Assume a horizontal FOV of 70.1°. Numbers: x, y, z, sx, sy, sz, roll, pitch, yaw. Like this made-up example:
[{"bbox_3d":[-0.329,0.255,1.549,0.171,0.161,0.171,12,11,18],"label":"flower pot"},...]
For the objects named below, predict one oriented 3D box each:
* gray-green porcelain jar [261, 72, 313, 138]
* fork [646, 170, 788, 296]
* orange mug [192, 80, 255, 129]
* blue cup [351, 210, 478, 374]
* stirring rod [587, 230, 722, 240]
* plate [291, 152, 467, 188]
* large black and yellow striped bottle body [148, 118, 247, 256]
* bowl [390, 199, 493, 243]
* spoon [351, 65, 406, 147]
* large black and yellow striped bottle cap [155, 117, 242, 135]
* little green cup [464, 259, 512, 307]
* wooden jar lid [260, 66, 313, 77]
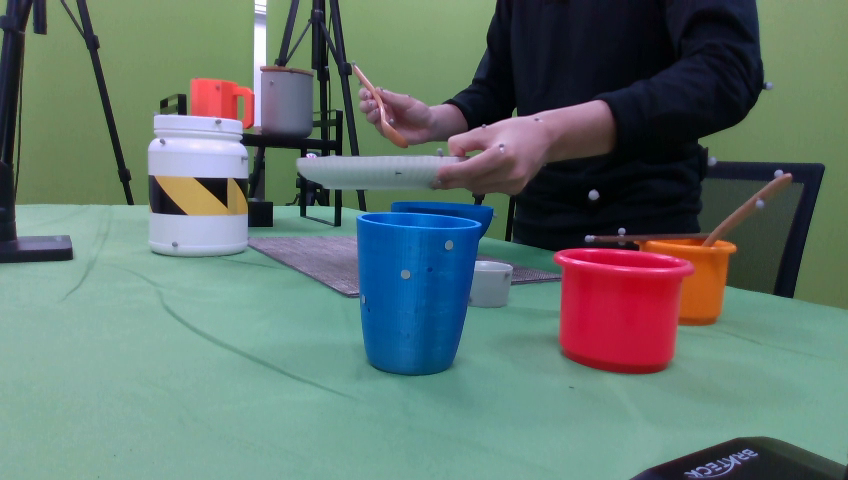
[{"bbox_3d":[-0.284,-0.276,1.253,0.106,0.126,0.106,2,8,0],"label":"gray-green porcelain jar"},{"bbox_3d":[0.256,0.004,0.543,0.028,0.018,0.207,3,-36,-10],"label":"fork"},{"bbox_3d":[-0.389,-0.257,1.172,0.126,0.100,0.083,-1,6,9],"label":"orange mug"},{"bbox_3d":[-0.009,0.034,0.414,0.093,0.100,0.092,4,8,0],"label":"blue cup"},{"bbox_3d":[0.227,-0.006,0.585,0.177,0.006,0.014,-2,7,-29],"label":"stirring rod"},{"bbox_3d":[-0.052,-0.082,0.718,0.209,0.038,0.209,-1,6,0],"label":"plate"},{"bbox_3d":[-0.318,-0.076,0.855,0.131,0.184,0.130,2,7,0],"label":"large black and yellow striped bottle body"},{"bbox_3d":[0.024,-0.016,0.874,0.151,0.077,0.151,2,7,0],"label":"bowl"},{"bbox_3d":[-0.070,-0.200,0.886,0.021,0.193,0.042,-29,-35,4],"label":"spoon"},{"bbox_3d":[-0.313,-0.159,0.845,0.115,0.019,0.115,3,9,0],"label":"large black and yellow striped bottle cap"},{"bbox_3d":[0.057,0.043,0.611,0.061,0.038,0.061,3,8,0],"label":"little green cup"},{"bbox_3d":[-0.283,-0.339,1.244,0.108,0.020,0.108,5,9,-1],"label":"wooden jar lid"}]
